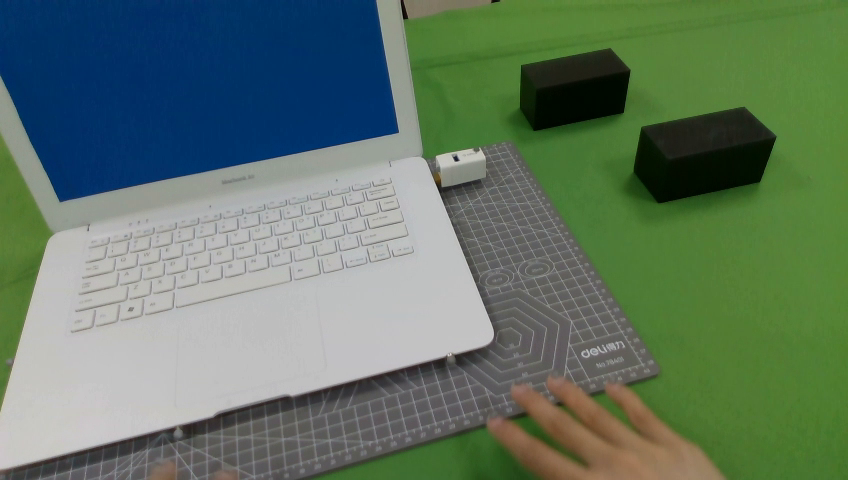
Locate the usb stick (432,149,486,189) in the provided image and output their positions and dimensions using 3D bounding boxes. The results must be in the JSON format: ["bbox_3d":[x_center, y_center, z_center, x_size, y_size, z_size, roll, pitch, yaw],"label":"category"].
[{"bbox_3d":[0.027,-0.066,0.570,0.059,0.027,0.021,-14,45,-5],"label":"usb stick"}]

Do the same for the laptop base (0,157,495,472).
[{"bbox_3d":[-0.143,0.040,0.499,0.355,0.023,0.233,-13,48,-7],"label":"laptop base"}]

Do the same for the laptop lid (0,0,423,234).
[{"bbox_3d":[-0.187,-0.140,0.523,0.357,0.244,0.013,-14,30,-6],"label":"laptop lid"}]
